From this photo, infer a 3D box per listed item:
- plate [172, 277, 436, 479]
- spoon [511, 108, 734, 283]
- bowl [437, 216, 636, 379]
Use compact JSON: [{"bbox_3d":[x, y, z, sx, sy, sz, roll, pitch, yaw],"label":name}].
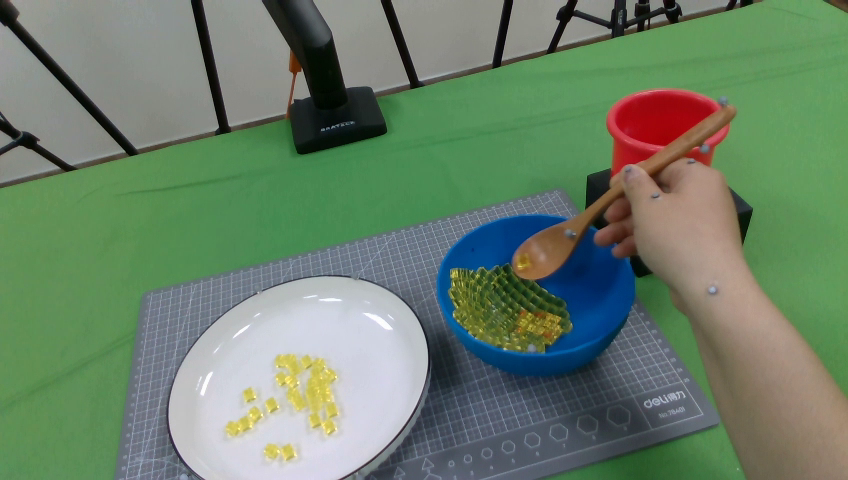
[{"bbox_3d":[-0.092,0.116,0.489,0.207,0.039,0.205,-5,42,5],"label":"plate"},{"bbox_3d":[0.136,-0.028,0.439,0.022,0.194,0.041,21,42,-32],"label":"spoon"},{"bbox_3d":[0.089,0.058,0.487,0.151,0.077,0.150,-5,42,5],"label":"bowl"}]
